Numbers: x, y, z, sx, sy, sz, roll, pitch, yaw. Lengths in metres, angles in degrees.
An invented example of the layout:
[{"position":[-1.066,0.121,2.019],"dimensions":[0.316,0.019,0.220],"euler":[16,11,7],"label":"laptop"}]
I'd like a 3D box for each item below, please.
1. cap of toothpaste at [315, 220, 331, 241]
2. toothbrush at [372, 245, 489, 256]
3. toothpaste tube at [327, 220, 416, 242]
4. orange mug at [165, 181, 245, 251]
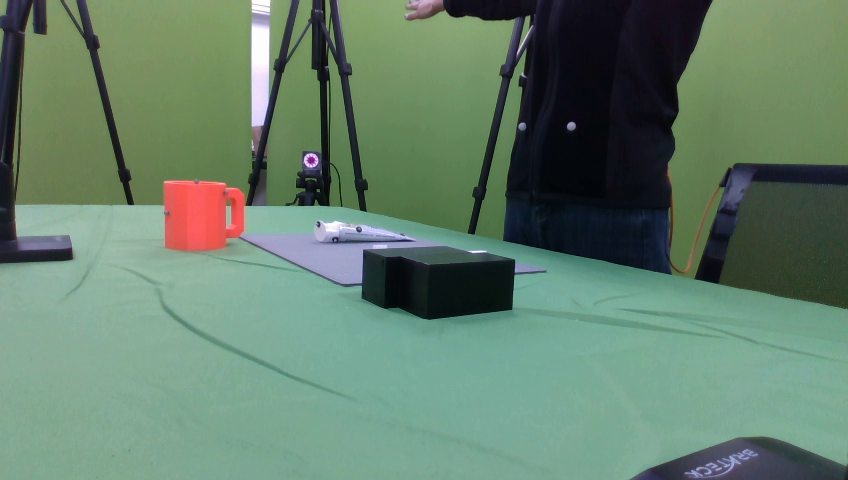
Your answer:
[{"position":[-0.164,-0.016,0.982],"dimensions":[0.011,0.037,0.037],"euler":[-8,12,-43],"label":"cap of toothpaste"},{"position":[0.012,0.016,0.874],"dimensions":[0.183,0.016,0.014],"euler":[1,-6,-22],"label":"toothbrush"},{"position":[-0.095,-0.013,1.026],"dimensions":[0.166,0.034,0.055],"euler":[2,13,-33],"label":"toothpaste tube"},{"position":[-0.326,-0.040,0.911],"dimensions":[0.083,0.101,0.127],"euler":[8,14,37],"label":"orange mug"}]
